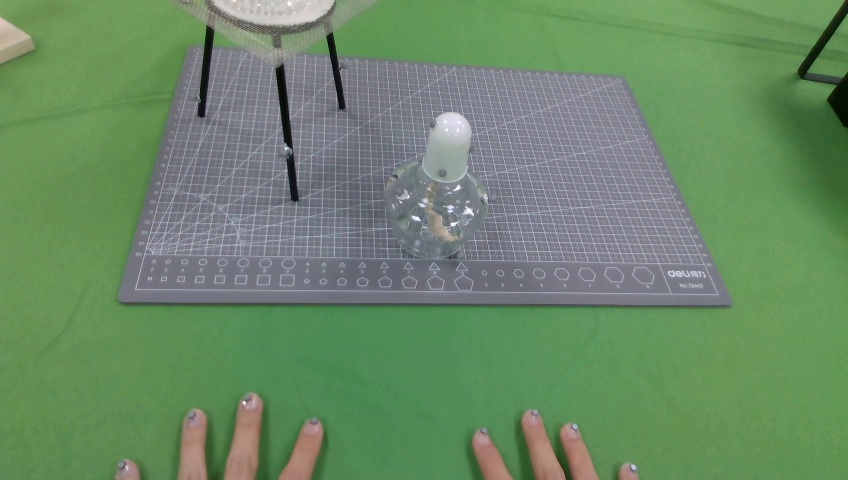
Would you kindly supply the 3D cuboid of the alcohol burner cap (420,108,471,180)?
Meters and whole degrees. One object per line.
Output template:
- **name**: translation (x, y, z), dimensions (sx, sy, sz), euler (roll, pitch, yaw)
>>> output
- **alcohol burner cap**: translation (0.016, -0.066, 0.405), dimensions (0.034, 0.048, 0.033), euler (3, 55, -5)

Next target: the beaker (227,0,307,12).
- **beaker**: translation (-0.105, -0.204, 0.380), dimensions (0.073, 0.101, 0.084), euler (33, 54, 16)

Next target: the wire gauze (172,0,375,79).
- **wire gauze**: translation (-0.107, -0.172, 0.418), dimensions (0.124, 0.011, 0.121), euler (34, 56, 12)

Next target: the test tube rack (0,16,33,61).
- **test tube rack**: translation (-0.443, -0.149, 0.457), dimensions (0.066, 0.086, 0.241), euler (32, 52, 15)

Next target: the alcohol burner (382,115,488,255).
- **alcohol burner**: translation (0.011, -0.044, 0.433), dimensions (0.078, 0.120, 0.077), euler (6, 49, -7)

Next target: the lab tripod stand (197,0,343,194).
- **lab tripod stand**: translation (-0.114, -0.131, 0.469), dimensions (0.149, 0.132, 0.147), euler (6, 51, -8)
